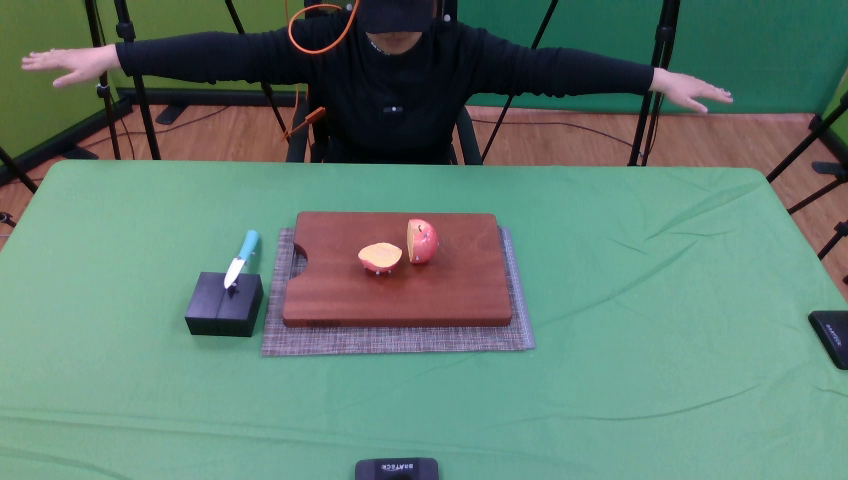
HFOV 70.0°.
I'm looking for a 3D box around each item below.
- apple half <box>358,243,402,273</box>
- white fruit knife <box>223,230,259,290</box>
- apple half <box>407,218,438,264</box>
[{"bbox_3d":[-0.078,0.038,1.109,0.081,0.033,0.081,1,30,0],"label":"apple half"},{"bbox_3d":[-0.333,0.034,1.106,0.027,0.016,0.206,1,29,-2],"label":"white fruit knife"},{"bbox_3d":[-0.001,0.003,1.120,0.053,0.075,0.080,-1,42,-11],"label":"apple half"}]
